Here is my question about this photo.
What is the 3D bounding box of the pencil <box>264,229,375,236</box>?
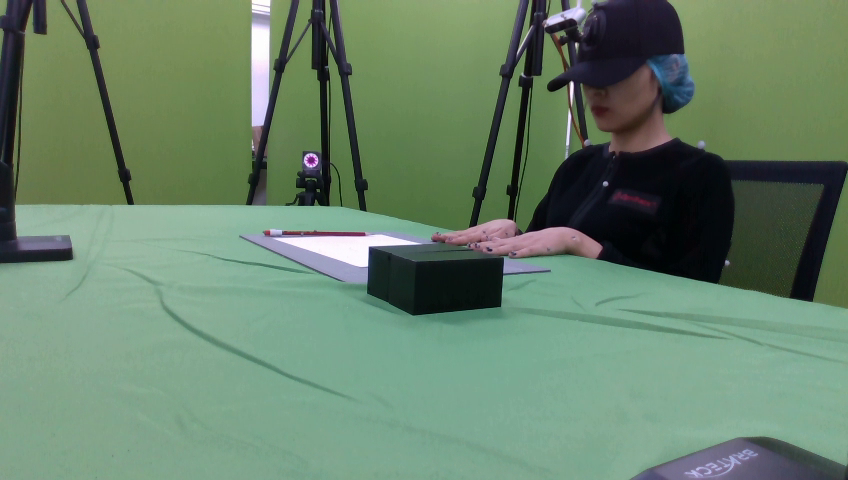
[{"bbox_3d":[-0.180,-0.011,1.058,0.195,0.012,0.012,1,7,-21],"label":"pencil"}]
